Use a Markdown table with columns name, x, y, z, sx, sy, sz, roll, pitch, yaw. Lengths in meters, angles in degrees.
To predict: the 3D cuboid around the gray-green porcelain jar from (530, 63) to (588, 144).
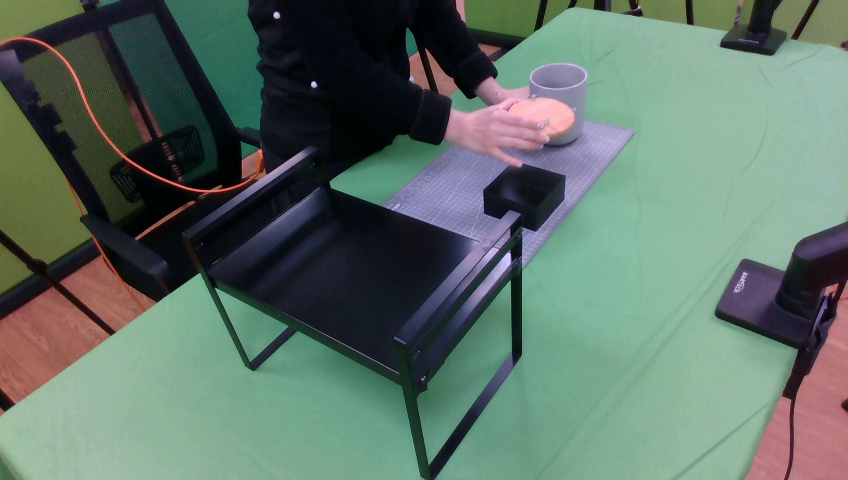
| name | x | y | z | sx | sy | sz | roll | pitch | yaw |
| --- | --- | --- | --- | --- | --- | --- | --- | --- | --- |
| gray-green porcelain jar | 0.255 | -0.256 | 1.151 | 0.106 | 0.127 | 0.105 | -4 | 41 | 4 |

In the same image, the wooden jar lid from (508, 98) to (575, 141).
| name | x | y | z | sx | sy | sz | roll | pitch | yaw |
| --- | --- | --- | --- | --- | --- | --- | --- | --- | --- |
| wooden jar lid | 0.192 | -0.197 | 0.993 | 0.108 | 0.021 | 0.108 | 0 | 43 | 1 |
